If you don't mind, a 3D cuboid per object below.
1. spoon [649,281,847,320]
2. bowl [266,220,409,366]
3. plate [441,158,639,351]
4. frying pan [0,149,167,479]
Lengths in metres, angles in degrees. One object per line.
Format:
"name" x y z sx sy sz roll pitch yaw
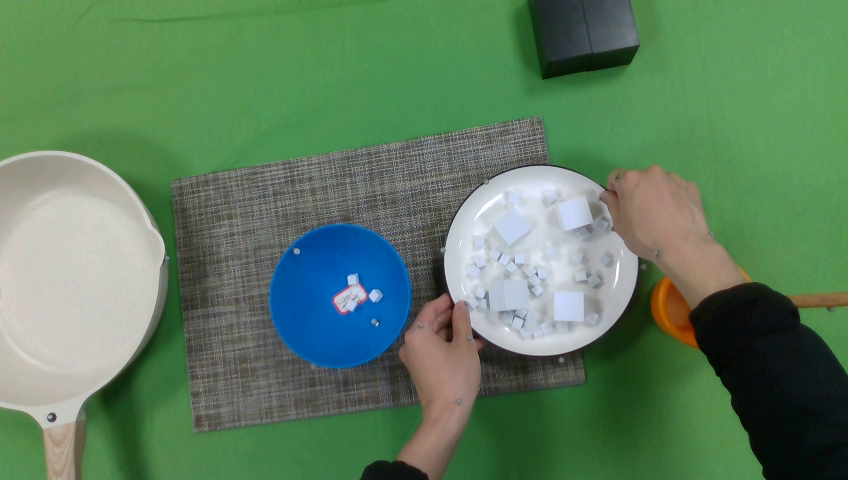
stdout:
"spoon" 0.310 0.056 0.585 0.022 0.193 0.041 1 83 -38
"bowl" -0.086 0.058 0.659 0.151 0.077 0.151 -1 84 6
"plate" 0.124 0.016 0.661 0.207 0.039 0.207 -1 84 6
"frying pan" -0.410 0.142 0.677 0.307 0.103 0.485 -13 75 5
